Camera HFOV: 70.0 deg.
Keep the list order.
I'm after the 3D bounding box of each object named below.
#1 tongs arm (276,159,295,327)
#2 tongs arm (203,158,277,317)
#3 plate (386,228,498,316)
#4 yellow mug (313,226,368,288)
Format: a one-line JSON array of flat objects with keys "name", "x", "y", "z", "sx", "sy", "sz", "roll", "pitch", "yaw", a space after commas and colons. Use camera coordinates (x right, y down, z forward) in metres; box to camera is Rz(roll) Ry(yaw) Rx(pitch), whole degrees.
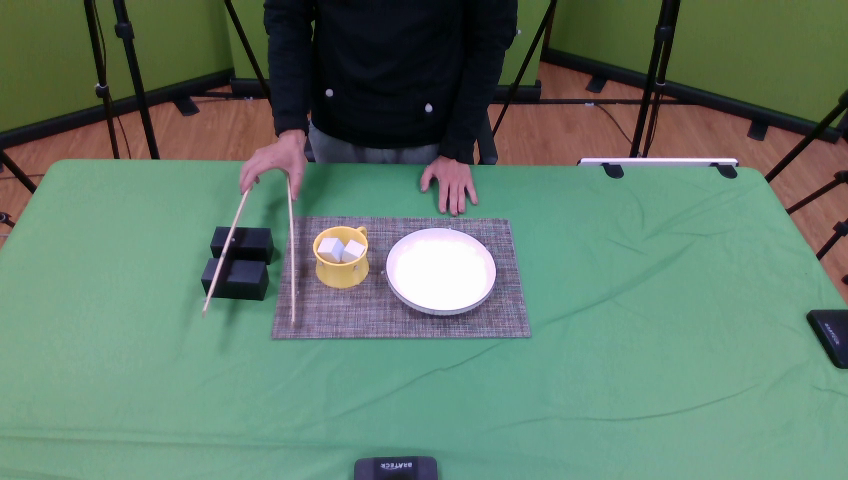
[{"name": "tongs arm", "x": -0.257, "y": -0.008, "z": 1.137, "sx": 0.028, "sy": 0.028, "sz": 0.385, "roll": -2, "pitch": 52, "yaw": -14}, {"name": "tongs arm", "x": -0.332, "y": -0.019, "z": 1.119, "sx": 0.051, "sy": 0.026, "sz": 0.382, "roll": 10, "pitch": 48, "yaw": -9}, {"name": "plate", "x": 0.032, "y": 0.062, "z": 1.126, "sx": 0.208, "sy": 0.039, "sz": 0.206, "roll": 2, "pitch": 46, "yaw": -2}, {"name": "yellow mug", "x": -0.146, "y": 0.021, "z": 1.131, "sx": 0.099, "sy": 0.064, "sz": 0.130, "roll": 24, "pitch": 49, "yaw": 19}]
